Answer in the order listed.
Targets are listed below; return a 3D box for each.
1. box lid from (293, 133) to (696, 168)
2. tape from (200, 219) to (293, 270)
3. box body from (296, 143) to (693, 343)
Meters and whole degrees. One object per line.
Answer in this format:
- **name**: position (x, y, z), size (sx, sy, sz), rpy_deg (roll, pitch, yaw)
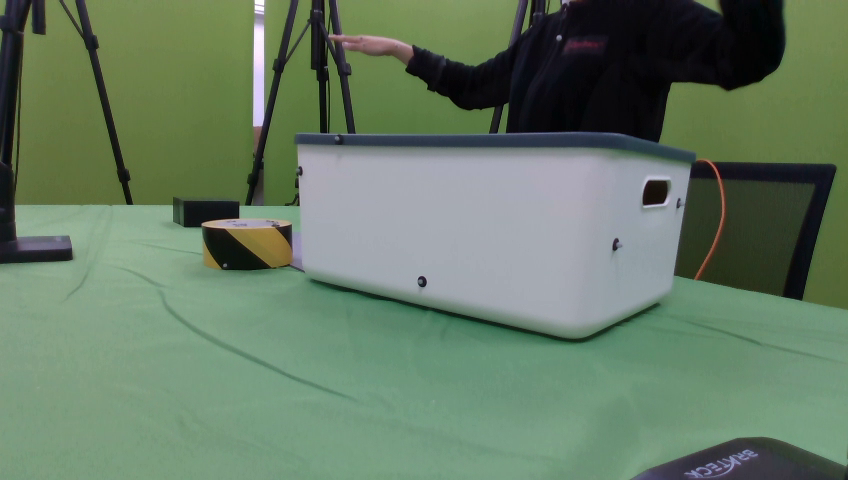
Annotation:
- **box lid**: position (0.068, -0.094, 0.645), size (0.369, 0.015, 0.265), rpy_deg (9, 8, 37)
- **tape**: position (-0.228, 0.004, 0.778), size (0.117, 0.052, 0.117), rpy_deg (1, 8, 0)
- **box body**: position (0.065, -0.020, 0.653), size (0.362, 0.160, 0.255), rpy_deg (9, 9, 37)
